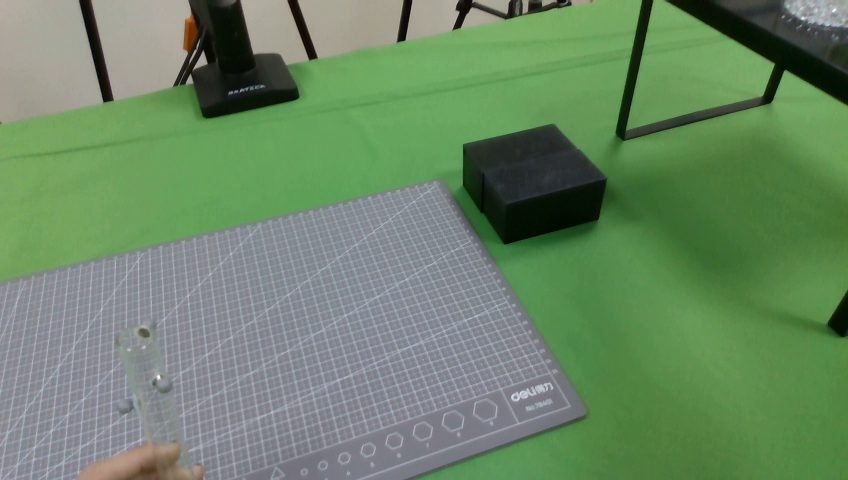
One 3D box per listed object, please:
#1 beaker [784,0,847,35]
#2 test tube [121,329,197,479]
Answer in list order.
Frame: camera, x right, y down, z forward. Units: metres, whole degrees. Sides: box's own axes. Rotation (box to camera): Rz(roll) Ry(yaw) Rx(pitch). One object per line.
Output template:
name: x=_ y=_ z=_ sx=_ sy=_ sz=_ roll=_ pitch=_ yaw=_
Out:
beaker: x=0.316 y=-0.211 z=0.447 sx=0.084 sy=0.101 sz=0.073 roll=-9 pitch=42 yaw=-5
test tube: x=-0.117 y=0.104 z=0.283 sx=0.017 sy=0.151 sz=0.017 roll=2 pitch=32 yaw=-1
